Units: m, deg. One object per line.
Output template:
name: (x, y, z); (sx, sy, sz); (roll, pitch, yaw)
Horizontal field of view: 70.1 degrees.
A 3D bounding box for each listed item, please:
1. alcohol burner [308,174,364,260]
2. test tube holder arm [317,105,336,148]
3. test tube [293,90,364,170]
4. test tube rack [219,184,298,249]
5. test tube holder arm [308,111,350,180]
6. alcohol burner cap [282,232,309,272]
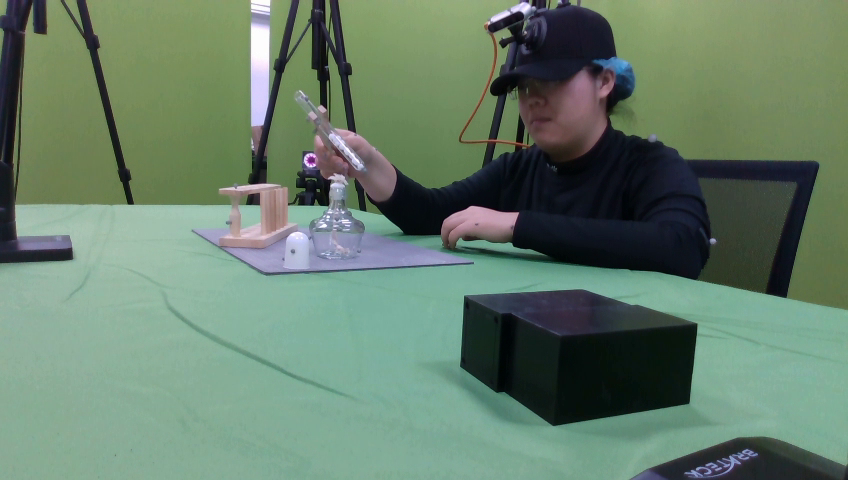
alcohol burner: (-0.121, -0.033, 0.841); (0.078, 0.119, 0.078); (3, 5, 0)
test tube holder arm: (-0.139, -0.159, 0.863); (0.010, 0.015, 0.088); (-35, -23, -16)
test tube: (-0.132, -0.152, 0.837); (0.150, 0.017, 0.017); (49, 23, 13)
test tube rack: (-0.266, -0.045, 1.001); (0.067, 0.085, 0.242); (3, 7, 0)
test tube holder arm: (-0.139, -0.137, 0.903); (0.013, 0.015, 0.179); (-38, -23, -9)
alcohol burner cap: (-0.157, 0.014, 0.740); (0.034, 0.048, 0.034); (2, 6, 0)
